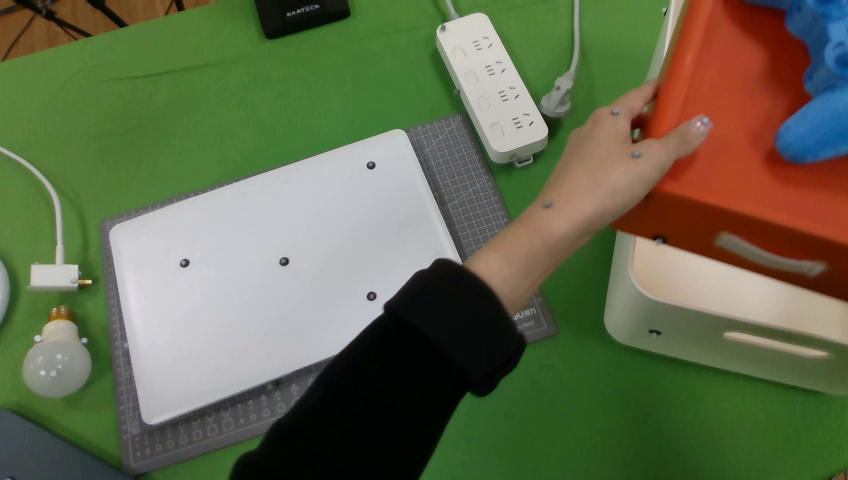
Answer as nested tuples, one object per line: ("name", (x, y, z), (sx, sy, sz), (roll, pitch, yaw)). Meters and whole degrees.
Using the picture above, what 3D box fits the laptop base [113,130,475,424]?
("laptop base", (-0.148, 0.027, 0.663), (0.354, 0.023, 0.233), (-20, 69, -5))

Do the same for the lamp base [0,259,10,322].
("lamp base", (-0.551, 0.033, 0.600), (0.178, 0.182, 0.160), (39, 73, 22))

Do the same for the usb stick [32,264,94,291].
("usb stick", (-0.393, 0.041, 0.661), (0.059, 0.021, 0.027), (6, 66, -30))

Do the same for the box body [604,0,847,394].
("box body", (0.331, -0.057, 0.589), (0.253, 0.161, 0.362), (13, 67, 9))

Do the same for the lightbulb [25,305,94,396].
("lightbulb", (-0.374, 0.110, 0.625), (0.059, 0.060, 0.106), (-20, 50, -5))

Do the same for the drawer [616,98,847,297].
("drawer", (0.259, -0.080, 0.416), (0.194, 0.074, 0.211), (19, 70, 14))

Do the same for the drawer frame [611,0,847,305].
("drawer frame", (0.260, -0.082, 0.416), (0.201, 0.083, 0.212), (19, 70, 12))

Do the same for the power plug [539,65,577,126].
("power plug", (0.167, -0.168, 0.720), (0.035, 0.053, 0.072), (39, 56, 24))

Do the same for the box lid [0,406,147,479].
("box lid", (-0.336, 0.334, 0.540), (0.370, 0.015, 0.262), (22, 69, 12))

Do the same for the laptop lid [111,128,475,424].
("laptop lid", (-0.148, 0.025, 0.651), (0.357, 0.013, 0.239), (-19, 68, -5))

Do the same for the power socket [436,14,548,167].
("power socket", (0.080, -0.188, 0.739), (0.072, 0.033, 0.224), (-19, 65, -6))

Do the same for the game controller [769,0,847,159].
("game controller", (0.263, -0.127, 0.378), (0.097, 0.052, 0.154), (0, 69, -1))
